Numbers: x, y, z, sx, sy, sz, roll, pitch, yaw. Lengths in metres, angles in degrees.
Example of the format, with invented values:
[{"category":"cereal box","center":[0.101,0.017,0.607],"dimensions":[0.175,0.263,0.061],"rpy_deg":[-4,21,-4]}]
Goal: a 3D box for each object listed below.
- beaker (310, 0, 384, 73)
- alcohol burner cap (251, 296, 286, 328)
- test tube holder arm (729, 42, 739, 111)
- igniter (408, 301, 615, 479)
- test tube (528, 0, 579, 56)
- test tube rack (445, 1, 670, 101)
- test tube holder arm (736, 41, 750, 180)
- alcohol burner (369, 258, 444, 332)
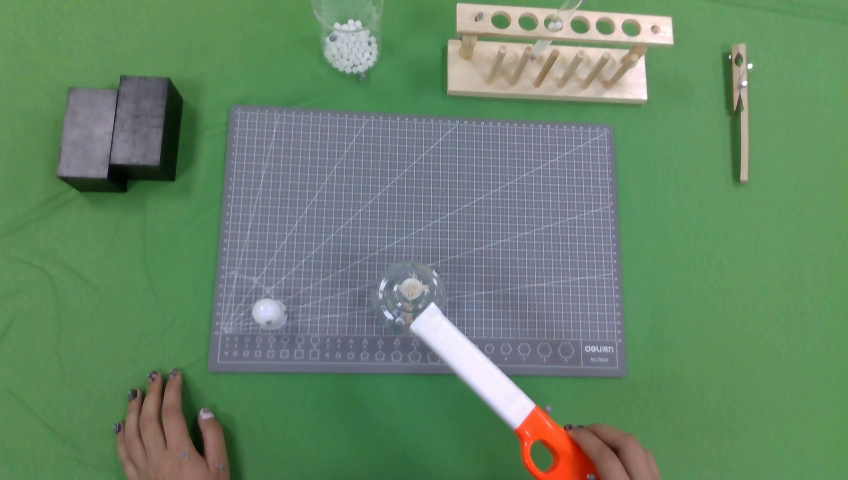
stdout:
[{"category":"beaker","center":[-0.087,-0.241,0.676],"dimensions":[0.084,0.100,0.074],"rpy_deg":[30,76,2]},{"category":"alcohol burner cap","center":[-0.163,0.073,0.629],"dimensions":[0.034,0.048,0.033],"rpy_deg":[1,78,-5]},{"category":"test tube holder arm","center":[0.388,-0.205,0.757],"dimensions":[0.010,0.015,0.087],"rpy_deg":[-3,77,30]},{"category":"igniter","center":[0.093,0.161,0.530],"dimensions":[0.276,0.025,0.057],"rpy_deg":[45,71,2]},{"category":"test tube","center":[0.144,-0.242,0.655],"dimensions":[0.017,0.150,0.017],"rpy_deg":[3,77,-11]},{"category":"test tube rack","center":[0.149,-0.215,0.701],"dimensions":[0.243,0.085,0.066],"rpy_deg":[1,77,-5]},{"category":"test tube holder arm","center":[0.391,-0.161,0.745],"dimensions":[0.013,0.015,0.177],"rpy_deg":[-5,76,29]},{"category":"alcohol burner","center":[-0.016,0.053,0.612],"dimensions":[0.078,0.119,0.077],"rpy_deg":[2,76,-6]}]
